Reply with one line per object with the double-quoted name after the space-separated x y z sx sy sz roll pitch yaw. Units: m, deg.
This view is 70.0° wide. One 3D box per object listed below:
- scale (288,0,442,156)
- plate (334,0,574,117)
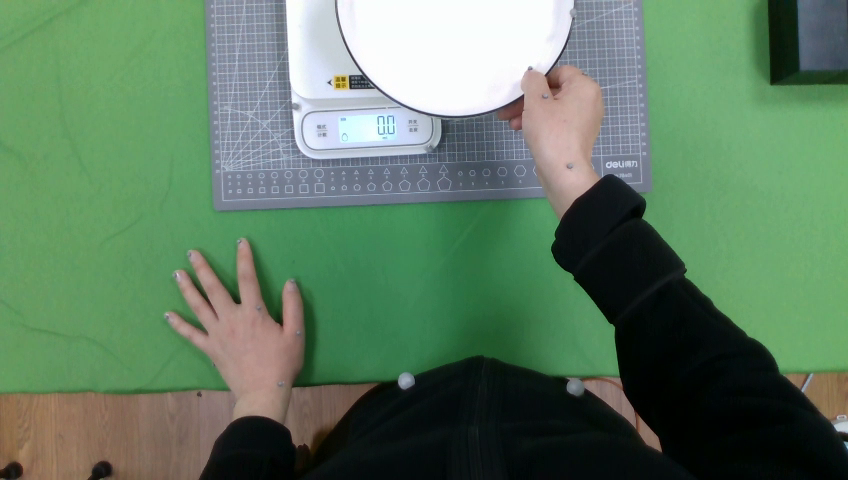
-0.060 -0.189 0.610 0.149 0.031 0.200 -3 89 -1 "scale"
0.027 -0.209 0.539 0.209 0.038 0.209 0 89 0 "plate"
